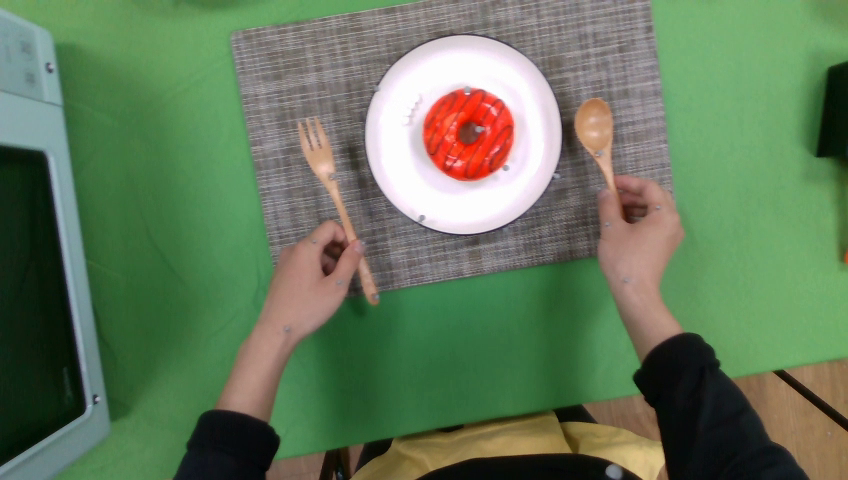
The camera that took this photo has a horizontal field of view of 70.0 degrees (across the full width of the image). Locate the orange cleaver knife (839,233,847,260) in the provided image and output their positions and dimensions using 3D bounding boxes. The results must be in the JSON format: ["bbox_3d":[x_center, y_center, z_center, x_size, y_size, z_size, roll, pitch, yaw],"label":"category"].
[{"bbox_3d":[0.482,-0.077,0.637,0.012,0.076,0.213,6,124,1],"label":"orange cleaver knife"}]

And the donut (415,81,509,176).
[{"bbox_3d":[0.040,-0.116,0.631,0.099,0.048,0.099,0,97,1],"label":"donut"}]

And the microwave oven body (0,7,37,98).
[{"bbox_3d":[-0.527,0.018,0.531,0.326,0.259,0.442,-7,96,-1],"label":"microwave oven body"}]

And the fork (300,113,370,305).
[{"bbox_3d":[-0.090,-0.029,0.622,0.018,0.028,0.208,-20,101,6],"label":"fork"}]

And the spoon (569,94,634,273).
[{"bbox_3d":[0.192,-0.058,0.638,0.042,0.021,0.193,-17,90,-17],"label":"spoon"}]

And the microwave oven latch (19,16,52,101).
[{"bbox_3d":[-0.402,-0.182,0.612,0.030,0.029,0.079,-6,96,-1],"label":"microwave oven latch"}]

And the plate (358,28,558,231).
[{"bbox_3d":[0.035,-0.114,0.642,0.209,0.038,0.209,0,96,-1],"label":"plate"}]

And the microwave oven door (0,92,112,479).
[{"bbox_3d":[-0.377,0.043,0.532,0.039,0.243,0.356,-7,95,0],"label":"microwave oven door"}]
